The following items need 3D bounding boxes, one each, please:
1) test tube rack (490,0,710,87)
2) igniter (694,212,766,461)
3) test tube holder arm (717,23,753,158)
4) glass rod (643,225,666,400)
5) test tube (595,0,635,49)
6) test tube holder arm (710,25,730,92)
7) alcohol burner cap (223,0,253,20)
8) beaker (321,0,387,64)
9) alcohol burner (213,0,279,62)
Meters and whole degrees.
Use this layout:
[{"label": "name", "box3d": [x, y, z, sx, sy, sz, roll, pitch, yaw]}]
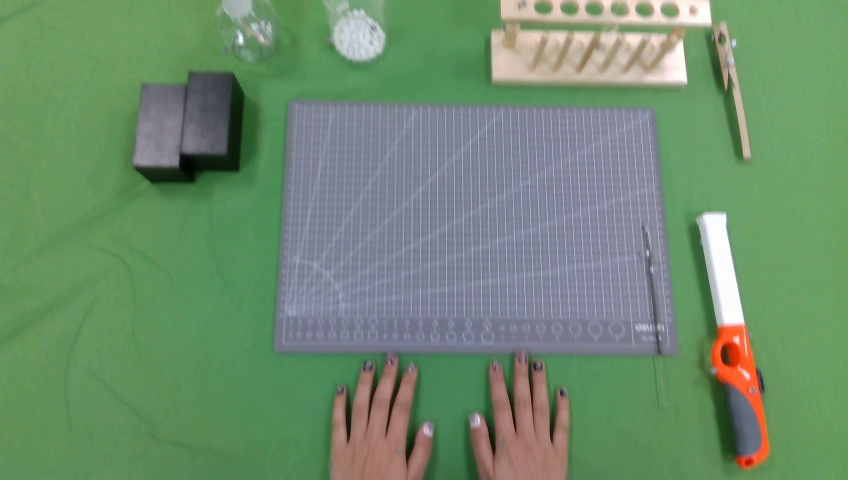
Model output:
[{"label": "test tube rack", "box3d": [0.205, -0.236, 0.728, 0.242, 0.085, 0.066, 1, 76, -2]}, {"label": "igniter", "box3d": [0.342, 0.101, 0.680, 0.057, 0.025, 0.275, 0, 76, -13]}, {"label": "test tube holder arm", "box3d": [0.388, -0.188, 0.757, 0.013, 0.015, 0.177, -15, 75, 31]}, {"label": "glass rod", "box3d": [0.260, 0.079, 0.688, 0.008, 0.008, 0.198, 0, 76, -3]}, {"label": "test tube", "box3d": [0.226, -0.266, 0.686, 0.017, 0.151, 0.017, 2, 72, -6]}, {"label": "test tube holder arm", "box3d": [0.378, -0.230, 0.770, 0.010, 0.015, 0.087, -14, 75, 31]}, {"label": "alcohol burner cap", "box3d": [-0.209, -0.272, 0.668, 0.034, 0.048, 0.033, 3, 70, -6]}, {"label": "beaker", "box3d": [-0.078, -0.264, 0.717, 0.074, 0.100, 0.084, 39, 77, 7]}, {"label": "alcohol burner", "box3d": [-0.210, -0.261, 0.702, 0.078, 0.119, 0.077, 0, 74, 0]}]
